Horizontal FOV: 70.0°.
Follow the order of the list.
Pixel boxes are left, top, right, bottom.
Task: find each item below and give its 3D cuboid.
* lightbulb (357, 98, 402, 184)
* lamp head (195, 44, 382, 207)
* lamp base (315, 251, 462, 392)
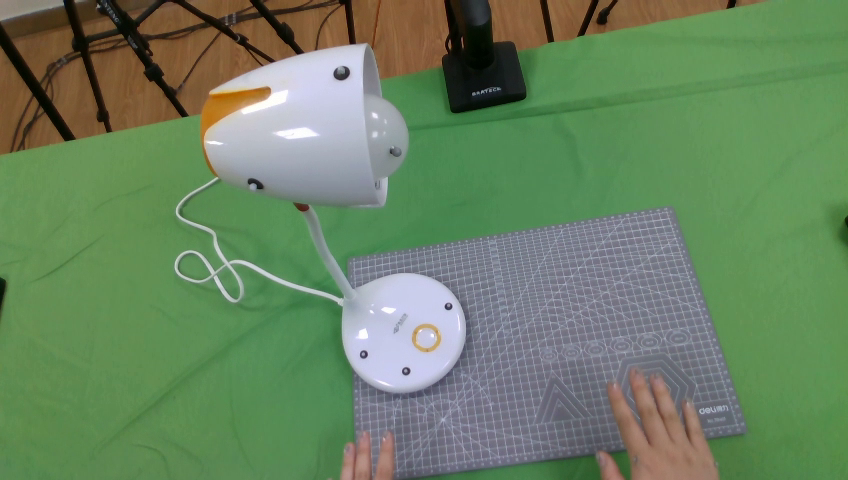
[{"bbox_3d":[-0.069,-0.064,0.420,0.107,0.060,0.059,-8,62,7],"label":"lightbulb"},{"bbox_3d":[-0.092,-0.073,0.426,0.123,0.113,0.111,-6,63,8],"label":"lamp head"},{"bbox_3d":[-0.055,0.077,0.713,0.178,0.182,0.160,14,66,19],"label":"lamp base"}]
